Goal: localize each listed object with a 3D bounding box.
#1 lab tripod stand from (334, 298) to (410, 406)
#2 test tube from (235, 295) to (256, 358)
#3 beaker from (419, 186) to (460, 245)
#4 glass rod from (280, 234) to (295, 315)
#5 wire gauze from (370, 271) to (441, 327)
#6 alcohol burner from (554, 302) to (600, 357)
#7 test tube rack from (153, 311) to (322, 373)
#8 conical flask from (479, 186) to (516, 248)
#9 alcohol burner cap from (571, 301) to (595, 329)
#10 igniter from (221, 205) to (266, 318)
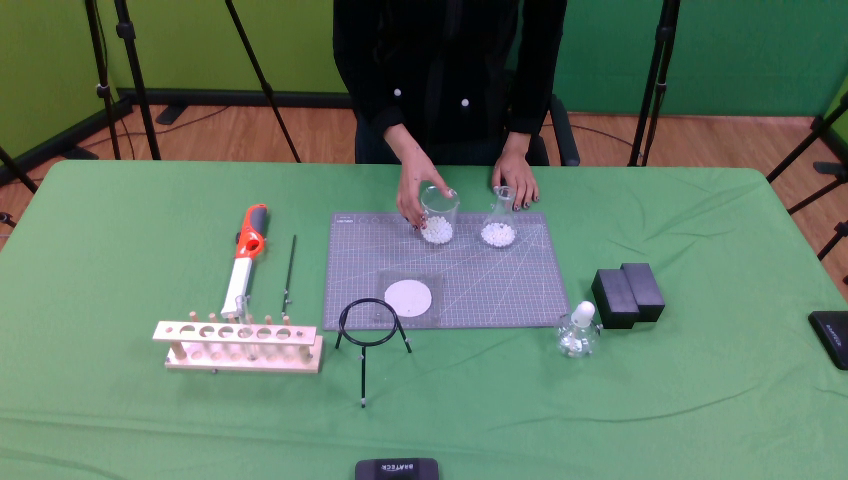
[{"bbox_3d":[-0.086,0.164,0.957,0.148,0.132,0.147,3,44,-2],"label":"lab tripod stand"},{"bbox_3d":[-0.274,0.136,0.933,0.017,0.151,0.017,4,46,-4],"label":"test tube"},{"bbox_3d":[0.025,-0.047,1.189,0.074,0.101,0.083,-27,53,-26],"label":"beaker"},{"bbox_3d":[-0.253,0.060,1.132,0.008,0.008,0.198,0,46,-4],"label":"glass rod"},{"bbox_3d":[-0.032,0.103,1.104,0.125,0.011,0.121,4,46,3],"label":"wire gauze"},{"bbox_3d":[0.260,0.144,1.018,0.078,0.119,0.077,3,45,-3],"label":"alcohol burner"},{"bbox_3d":[-0.293,0.160,0.977,0.242,0.085,0.066,3,46,-2],"label":"test tube rack"},{"bbox_3d":[0.150,-0.049,1.186,0.075,0.122,0.075,2,46,-2],"label":"conical flask"},{"bbox_3d":[0.262,0.120,0.991,0.034,0.048,0.033,2,52,-2],"label":"alcohol burner cap"},{"bbox_3d":[-0.338,0.030,1.140,0.057,0.025,0.274,-5,46,3],"label":"igniter"}]
